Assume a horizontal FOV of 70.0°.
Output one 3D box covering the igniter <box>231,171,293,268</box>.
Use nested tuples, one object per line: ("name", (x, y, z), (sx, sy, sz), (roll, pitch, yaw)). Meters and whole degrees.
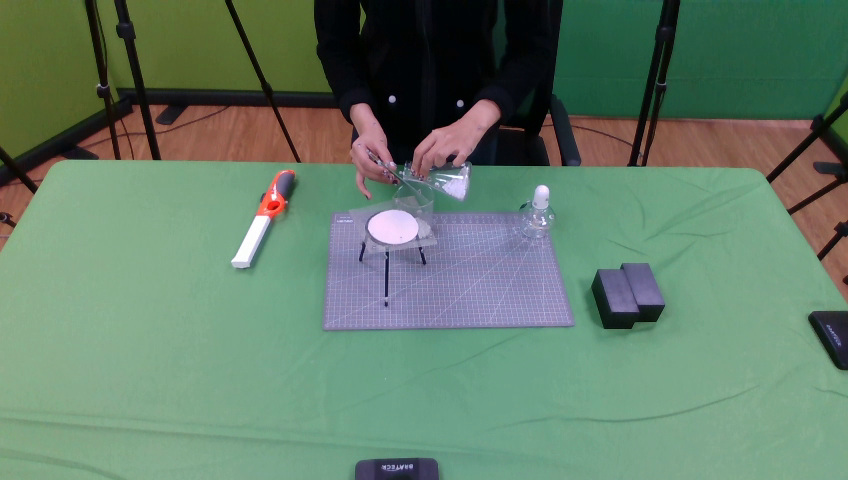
("igniter", (-0.321, -0.051, 1.220), (0.057, 0.025, 0.275), (1, 45, 11))

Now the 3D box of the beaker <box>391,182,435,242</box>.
("beaker", (-0.023, -0.053, 1.192), (0.084, 0.101, 0.073), (-2, 46, -6))

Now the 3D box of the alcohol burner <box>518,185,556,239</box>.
("alcohol burner", (0.227, -0.061, 1.209), (0.078, 0.120, 0.077), (1, 44, -1))

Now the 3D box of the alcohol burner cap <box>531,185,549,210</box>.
("alcohol burner cap", (0.228, -0.085, 1.183), (0.034, 0.048, 0.033), (-1, 48, 1))

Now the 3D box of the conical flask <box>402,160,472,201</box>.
("conical flask", (0.022, -0.117, 1.101), (0.122, 0.075, 0.075), (11, 46, 3))

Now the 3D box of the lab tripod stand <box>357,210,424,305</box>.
("lab tripod stand", (-0.060, 0.020, 1.094), (0.148, 0.132, 0.147), (3, 44, -2))

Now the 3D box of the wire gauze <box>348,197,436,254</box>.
("wire gauze", (-0.056, -0.026, 1.045), (0.125, 0.011, 0.120), (-12, 47, -17))

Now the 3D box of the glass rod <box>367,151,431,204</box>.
("glass rod", (-0.042, -0.111, 1.116), (0.008, 0.201, 0.008), (-17, 57, 29))
